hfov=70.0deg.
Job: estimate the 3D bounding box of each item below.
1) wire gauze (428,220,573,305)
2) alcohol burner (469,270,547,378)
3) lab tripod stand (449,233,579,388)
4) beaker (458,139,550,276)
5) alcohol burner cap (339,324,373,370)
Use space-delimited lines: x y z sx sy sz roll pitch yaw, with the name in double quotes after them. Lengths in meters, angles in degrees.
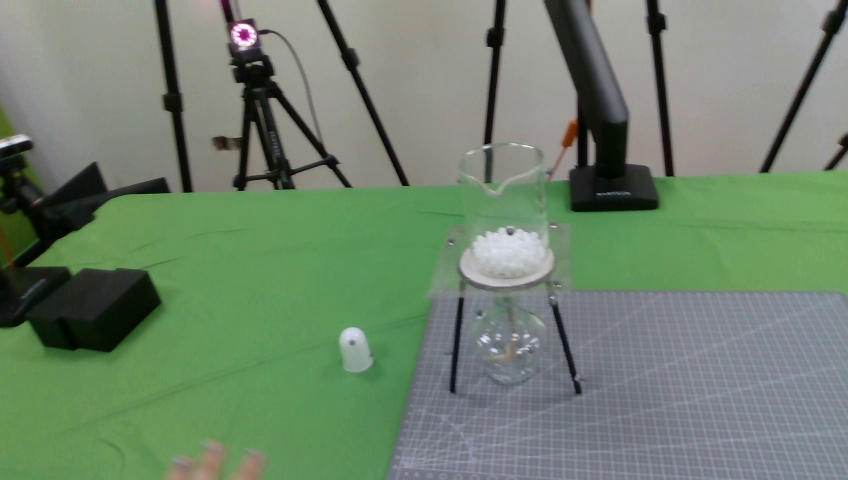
0.072 0.015 0.548 0.121 0.011 0.124 -2 34 14 "wire gauze"
0.081 0.077 0.591 0.078 0.120 0.077 -4 34 3 "alcohol burner"
0.082 0.068 0.586 0.148 0.132 0.147 -7 31 5 "lab tripod stand"
0.071 -0.025 0.520 0.074 0.101 0.083 -1 33 15 "beaker"
-0.074 0.111 0.645 0.034 0.048 0.033 -5 34 4 "alcohol burner cap"
